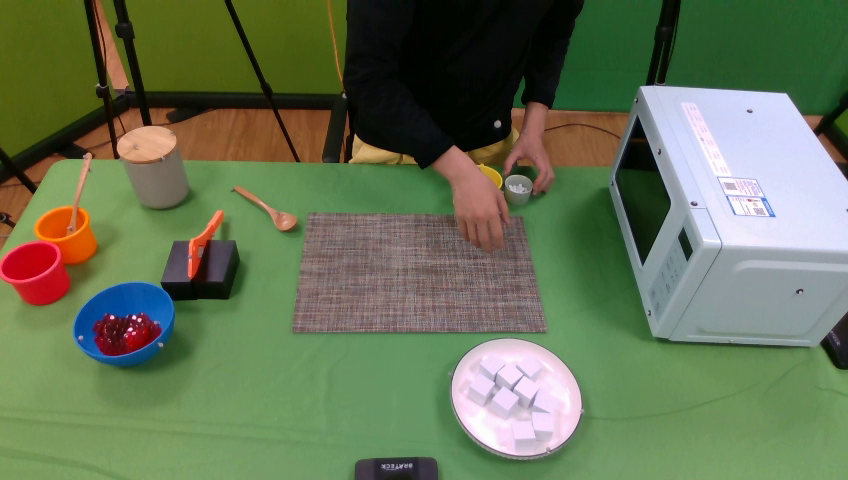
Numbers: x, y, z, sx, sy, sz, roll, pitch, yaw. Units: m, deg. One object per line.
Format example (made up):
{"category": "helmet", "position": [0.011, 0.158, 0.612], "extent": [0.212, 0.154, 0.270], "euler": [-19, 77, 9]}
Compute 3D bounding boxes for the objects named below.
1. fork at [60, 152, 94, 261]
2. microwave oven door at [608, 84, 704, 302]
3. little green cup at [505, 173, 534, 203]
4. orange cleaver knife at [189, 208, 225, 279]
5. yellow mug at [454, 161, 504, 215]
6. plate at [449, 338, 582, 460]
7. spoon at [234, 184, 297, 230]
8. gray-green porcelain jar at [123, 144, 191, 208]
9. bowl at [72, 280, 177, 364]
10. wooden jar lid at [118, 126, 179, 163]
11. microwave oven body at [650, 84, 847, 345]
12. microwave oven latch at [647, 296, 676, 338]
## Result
{"category": "fork", "position": [-0.638, -0.063, 1.120], "extent": [0.028, 0.018, 0.207], "euler": [12, 90, 6]}
{"category": "microwave oven door", "position": [0.424, -0.096, 1.138], "extent": [0.039, 0.245, 0.353], "euler": [3, 46, -1]}
{"category": "little green cup", "position": [0.203, -0.110, 1.303], "extent": [0.061, 0.039, 0.061], "euler": [3, 43, -3]}
{"category": "orange cleaver knife", "position": [-0.400, 0.002, 1.122], "extent": [0.012, 0.077, 0.210], "euler": [4, 23, -4]}
{"category": "yellow mug", "position": [0.117, -0.118, 1.283], "extent": [0.100, 0.064, 0.130], "euler": [8, 43, 6]}
{"category": "plate", "position": [0.141, 0.251, 0.956], "extent": [0.208, 0.039, 0.206], "euler": [2, 46, -2]}
{"category": "spoon", "position": [-0.327, -0.074, 1.240], "extent": [0.193, 0.022, 0.041], "euler": [34, 72, 25]}
{"category": "gray-green porcelain jar", "position": [-0.531, -0.137, 1.214], "extent": [0.106, 0.127, 0.105], "euler": [2, 47, -2]}
{"category": "bowl", "position": [-0.473, 0.147, 0.982], "extent": [0.151, 0.077, 0.150], "euler": [2, 46, -2]}
{"category": "wooden jar lid", "position": [-0.528, -0.181, 1.167], "extent": [0.108, 0.021, 0.107], "euler": [4, 48, -4]}
{"category": "microwave oven body", "position": [0.569, -0.054, 1.116], "extent": [0.326, 0.261, 0.439], "euler": [2, 46, -1]}
{"category": "microwave oven latch", "position": [0.413, 0.133, 1.060], "extent": [0.030, 0.029, 0.078], "euler": [4, 46, 1]}
